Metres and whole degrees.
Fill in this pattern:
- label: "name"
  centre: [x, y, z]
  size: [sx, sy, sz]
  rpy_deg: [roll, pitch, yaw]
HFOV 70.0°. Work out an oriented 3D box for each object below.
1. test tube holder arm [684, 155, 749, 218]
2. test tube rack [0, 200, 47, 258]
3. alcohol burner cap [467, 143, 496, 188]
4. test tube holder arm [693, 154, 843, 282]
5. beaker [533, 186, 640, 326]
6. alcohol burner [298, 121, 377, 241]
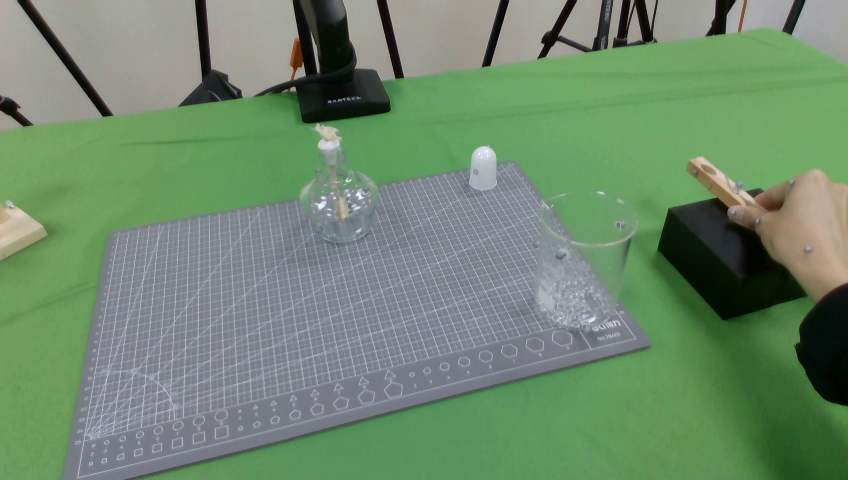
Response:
- label: "test tube holder arm"
  centre: [0.275, -0.051, 0.567]
  size: [0.010, 0.015, 0.087]
  rpy_deg: [-21, 44, -8]
- label: "test tube rack"
  centre: [-0.491, 0.012, 0.546]
  size: [0.066, 0.086, 0.242]
  rpy_deg: [25, 47, 29]
- label: "alcohol burner cap"
  centre: [0.063, -0.085, 0.668]
  size: [0.034, 0.048, 0.033]
  rpy_deg: [-1, 40, 1]
- label: "test tube holder arm"
  centre: [0.295, -0.026, 0.536]
  size: [0.013, 0.015, 0.176]
  rpy_deg: [-22, 44, -8]
- label: "beaker"
  centre: [0.127, 0.015, 0.503]
  size: [0.074, 0.101, 0.083]
  rpy_deg: [-33, 48, -31]
- label: "alcohol burner"
  centre: [-0.086, -0.059, 0.588]
  size: [0.078, 0.120, 0.077]
  rpy_deg: [-2, 39, 2]
